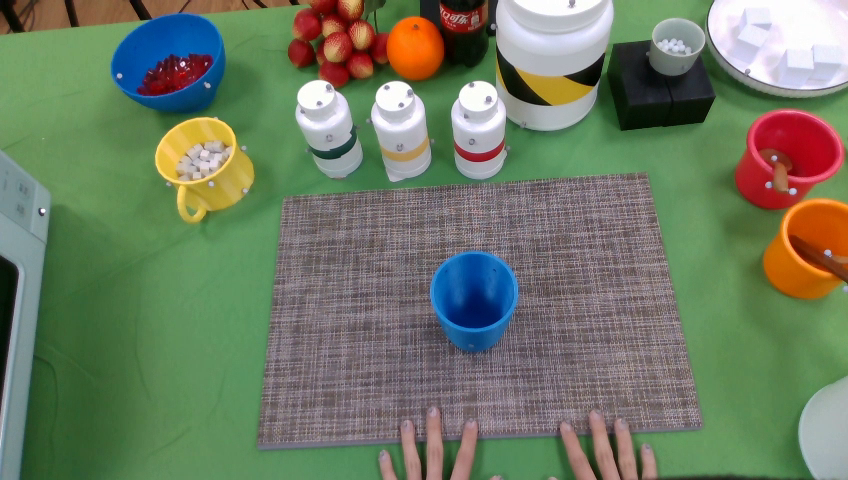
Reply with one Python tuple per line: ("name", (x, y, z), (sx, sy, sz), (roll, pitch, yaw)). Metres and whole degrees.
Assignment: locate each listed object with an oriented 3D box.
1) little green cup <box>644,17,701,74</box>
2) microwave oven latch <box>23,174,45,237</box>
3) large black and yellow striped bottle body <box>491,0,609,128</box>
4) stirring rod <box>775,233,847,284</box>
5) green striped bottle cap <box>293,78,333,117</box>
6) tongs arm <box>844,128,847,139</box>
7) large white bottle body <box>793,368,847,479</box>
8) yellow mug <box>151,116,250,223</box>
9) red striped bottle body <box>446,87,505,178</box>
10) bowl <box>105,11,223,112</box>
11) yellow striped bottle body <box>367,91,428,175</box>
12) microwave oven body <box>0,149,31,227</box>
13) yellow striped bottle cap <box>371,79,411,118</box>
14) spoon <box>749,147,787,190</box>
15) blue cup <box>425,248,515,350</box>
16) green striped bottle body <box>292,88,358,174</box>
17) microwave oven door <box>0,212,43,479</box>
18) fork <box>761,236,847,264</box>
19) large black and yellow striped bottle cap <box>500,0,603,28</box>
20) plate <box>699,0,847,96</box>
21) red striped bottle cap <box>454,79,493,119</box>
("little green cup", (0.297, -0.233, 0.731), (0.061, 0.039, 0.061), (-1, 61, 3))
("microwave oven latch", (-0.489, -0.041, 0.746), (0.030, 0.030, 0.078), (-11, 63, 0))
("large black and yellow striped bottle body", (0.146, -0.238, 0.724), (0.131, 0.185, 0.129), (-2, 63, 5))
("stirring rod", (0.395, 0.024, 0.594), (0.014, 0.006, 0.175), (-2, 20, 3))
("green striped bottle cap", (-0.127, -0.162, 0.688), (0.044, 0.020, 0.044), (-1, 63, 3))
("tongs arm", (0.572, 0.026, 0.631), (0.051, 0.027, 0.381), (-14, 63, -4))
("large white bottle body", (0.410, 0.154, 0.498), (0.130, 0.186, 0.129), (-2, 62, 5))
("yellow mug", (-0.280, -0.083, 0.752), (0.100, 0.064, 0.130), (6, 64, 8))
("red striped bottle body", (0.061, -0.131, 0.714), (0.063, 0.121, 0.062), (-4, 60, 8))
("bowl", (-0.339, -0.229, 0.825), (0.151, 0.077, 0.150), (-2, 63, 4))
("yellow striped bottle body", (-0.032, -0.135, 0.724), (0.063, 0.121, 0.062), (-3, 62, 5))
("microwave oven body", (-0.609, 0.099, 0.578), (0.326, 0.262, 0.437), (-12, 63, -1))
("yellow striped bottle cap", (-0.037, -0.159, 0.679), (0.044, 0.019, 0.044), (-2, 64, 4))
("spoon", (0.369, -0.078, 0.643), (0.041, 0.194, 0.022), (27, 114, 18))
("blue cup", (0.047, 0.069, 0.620), (0.092, 0.101, 0.092), (-1, 62, 3))
("green striped bottle body", (-0.120, -0.138, 0.735), (0.063, 0.120, 0.062), (-2, 63, 4))
("microwave oven door", (-0.459, 0.103, 0.556), (0.039, 0.246, 0.352), (-12, 62, 0))
("fork", (0.424, 0.023, 0.584), (0.028, 0.019, 0.206), (-39, 22, -13))
("large black and yellow striped bottle cap", (0.137, -0.275, 0.649), (0.115, 0.019, 0.114), (-3, 62, 5))
("plate", (0.464, -0.266, 0.790), (0.209, 0.038, 0.207), (-2, 63, 4))
("red striped bottle cap", (0.055, -0.156, 0.668), (0.044, 0.018, 0.044), (0, 61, 1))
